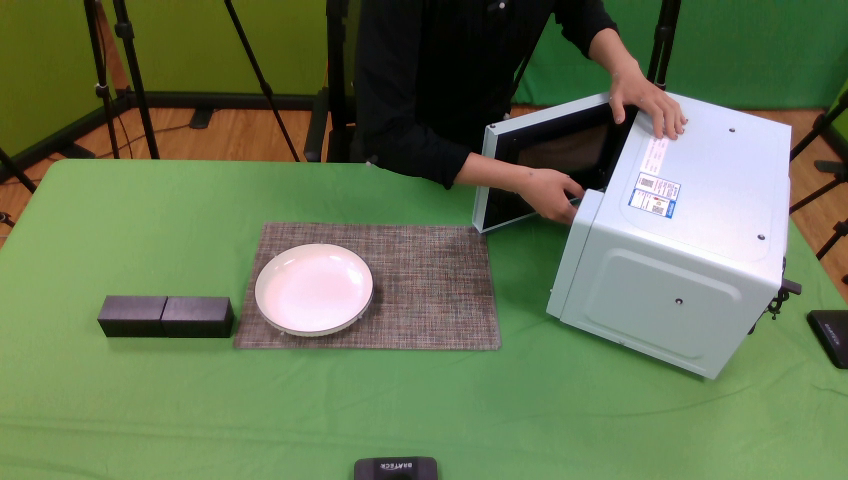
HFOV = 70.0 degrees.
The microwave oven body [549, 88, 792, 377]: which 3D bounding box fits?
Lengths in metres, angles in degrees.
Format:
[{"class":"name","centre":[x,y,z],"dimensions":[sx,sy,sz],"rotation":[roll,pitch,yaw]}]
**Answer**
[{"class":"microwave oven body","centre":[0.456,-0.028,1.088],"dimensions":[0.325,0.261,0.440],"rotation":[20,47,16]}]

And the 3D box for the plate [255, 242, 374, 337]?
[{"class":"plate","centre":[-0.192,0.090,1.080],"dimensions":[0.208,0.039,0.206],"rotation":[2,46,-2]}]

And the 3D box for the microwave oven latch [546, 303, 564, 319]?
[{"class":"microwave oven latch","centre":[0.242,0.102,1.081],"dimensions":[0.030,0.029,0.079],"rotation":[22,48,17]}]

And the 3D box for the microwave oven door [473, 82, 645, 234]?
[{"class":"microwave oven door","centre":[0.266,-0.163,1.196],"dimensions":[0.356,0.245,0.039],"rotation":[-20,49,-21]}]
